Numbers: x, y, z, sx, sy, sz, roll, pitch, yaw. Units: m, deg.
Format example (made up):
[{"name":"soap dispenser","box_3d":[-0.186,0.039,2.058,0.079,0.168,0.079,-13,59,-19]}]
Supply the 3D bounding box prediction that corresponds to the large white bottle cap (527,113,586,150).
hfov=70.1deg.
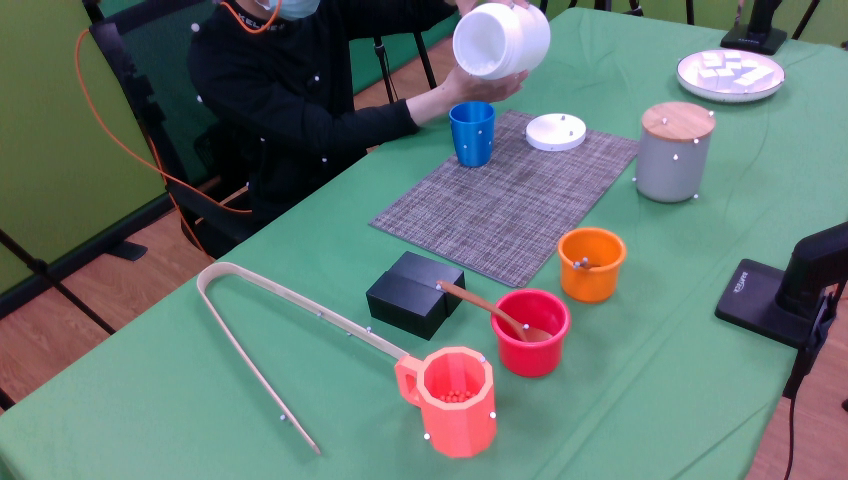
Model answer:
[{"name":"large white bottle cap","box_3d":[0.259,-0.213,1.184,0.115,0.018,0.114,-4,41,4]}]

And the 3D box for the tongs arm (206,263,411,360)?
[{"name":"tongs arm","box_3d":[-0.179,0.106,0.870,0.381,0.026,0.051,23,53,32]}]

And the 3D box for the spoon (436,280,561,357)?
[{"name":"spoon","box_3d":[0.096,0.095,0.757,0.195,0.021,0.041,34,40,-20]}]

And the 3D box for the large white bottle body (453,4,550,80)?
[{"name":"large white bottle body","box_3d":[0.144,-0.371,1.129,0.129,0.131,0.185,18,27,27]}]

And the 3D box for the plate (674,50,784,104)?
[{"name":"plate","box_3d":[0.631,-0.336,1.262,0.207,0.039,0.206,-4,41,4]}]

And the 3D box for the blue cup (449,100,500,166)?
[{"name":"blue cup","box_3d":[0.092,-0.194,1.123,0.092,0.100,0.092,-3,40,3]}]

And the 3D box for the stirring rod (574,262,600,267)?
[{"name":"stirring rod","box_3d":[0.222,0.033,0.816,0.014,0.006,0.177,7,1,22]}]

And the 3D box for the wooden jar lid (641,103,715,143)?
[{"name":"wooden jar lid","box_3d":[0.398,-0.180,0.952,0.108,0.021,0.108,-4,43,4]}]

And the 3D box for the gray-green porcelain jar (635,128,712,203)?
[{"name":"gray-green porcelain jar","box_3d":[0.405,-0.133,0.992,0.106,0.127,0.105,-4,40,4]}]

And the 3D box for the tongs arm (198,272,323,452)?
[{"name":"tongs arm","box_3d":[-0.236,0.153,0.830,0.028,0.028,0.384,-36,47,-19]}]

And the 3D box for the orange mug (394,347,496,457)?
[{"name":"orange mug","box_3d":[0.024,0.181,0.703,0.125,0.101,0.083,20,48,23]}]
